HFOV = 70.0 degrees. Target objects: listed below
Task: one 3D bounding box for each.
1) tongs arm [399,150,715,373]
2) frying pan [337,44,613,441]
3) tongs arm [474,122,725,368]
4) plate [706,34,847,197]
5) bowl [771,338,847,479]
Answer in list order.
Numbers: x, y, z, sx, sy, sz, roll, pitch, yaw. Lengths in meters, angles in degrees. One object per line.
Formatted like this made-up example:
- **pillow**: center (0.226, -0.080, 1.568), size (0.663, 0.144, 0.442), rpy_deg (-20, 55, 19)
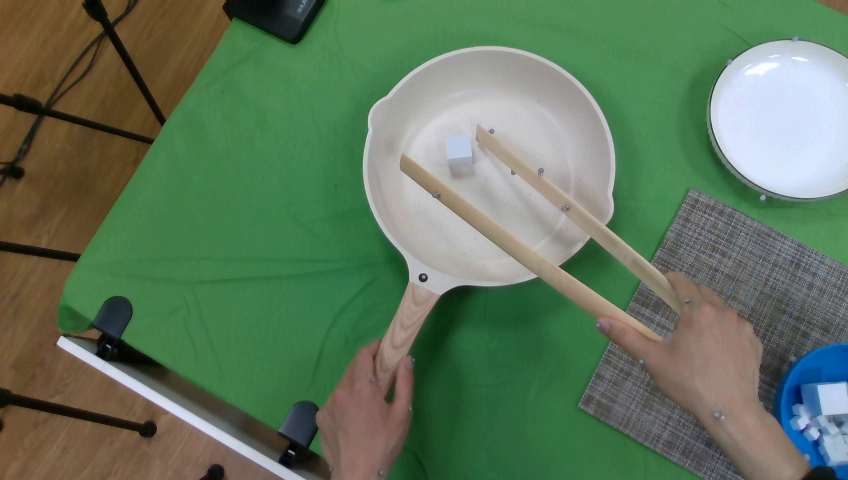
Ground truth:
- **tongs arm**: center (0.106, 0.007, 0.608), size (0.028, 0.028, 0.384), rpy_deg (-28, 53, -36)
- **frying pan**: center (0.025, 0.000, 0.697), size (0.306, 0.103, 0.486), rpy_deg (26, 73, 9)
- **tongs arm**: center (0.156, -0.017, 0.638), size (0.051, 0.027, 0.380), rpy_deg (-23, 51, -29)
- **plate**: center (0.447, -0.148, 0.739), size (0.207, 0.039, 0.206), rpy_deg (-1, 78, 3)
- **bowl**: center (0.437, 0.182, 0.647), size (0.151, 0.077, 0.150), rpy_deg (-1, 79, 3)
